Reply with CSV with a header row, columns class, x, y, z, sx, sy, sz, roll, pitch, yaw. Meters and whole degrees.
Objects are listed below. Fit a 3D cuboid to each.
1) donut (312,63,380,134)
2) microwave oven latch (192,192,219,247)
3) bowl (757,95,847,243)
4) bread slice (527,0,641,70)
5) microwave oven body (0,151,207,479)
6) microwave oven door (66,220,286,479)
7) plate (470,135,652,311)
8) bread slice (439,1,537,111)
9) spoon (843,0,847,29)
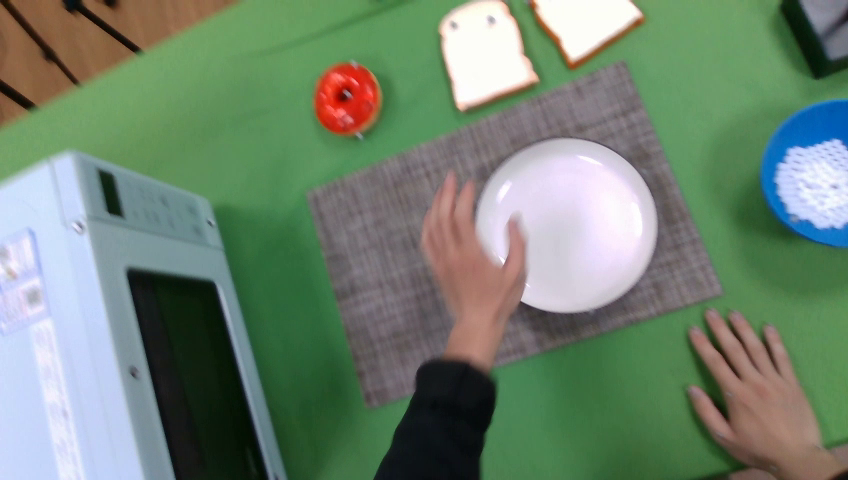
class,x,y,z,sx,sy,sz,roll,pitch,yaw
donut,-0.107,-0.191,0.819,0.099,0.048,0.098,-3,82,18
microwave oven latch,-0.310,-0.025,0.838,0.030,0.029,0.079,-22,78,11
bowl,0.423,-0.065,0.633,0.151,0.077,0.151,-2,81,16
bread slice,0.191,-0.294,0.763,0.105,0.019,0.131,-34,76,8
microwave oven body,-0.415,0.178,0.738,0.326,0.261,0.439,-22,77,11
microwave oven door,-0.271,0.162,0.694,0.039,0.245,0.354,-23,77,12
plate,0.159,-0.019,0.719,0.207,0.039,0.207,-2,82,16
bread slice,0.074,-0.242,0.789,0.107,0.018,0.133,-21,79,12
spoon,0.435,-0.255,0.595,0.021,0.195,0.041,-21,74,27
